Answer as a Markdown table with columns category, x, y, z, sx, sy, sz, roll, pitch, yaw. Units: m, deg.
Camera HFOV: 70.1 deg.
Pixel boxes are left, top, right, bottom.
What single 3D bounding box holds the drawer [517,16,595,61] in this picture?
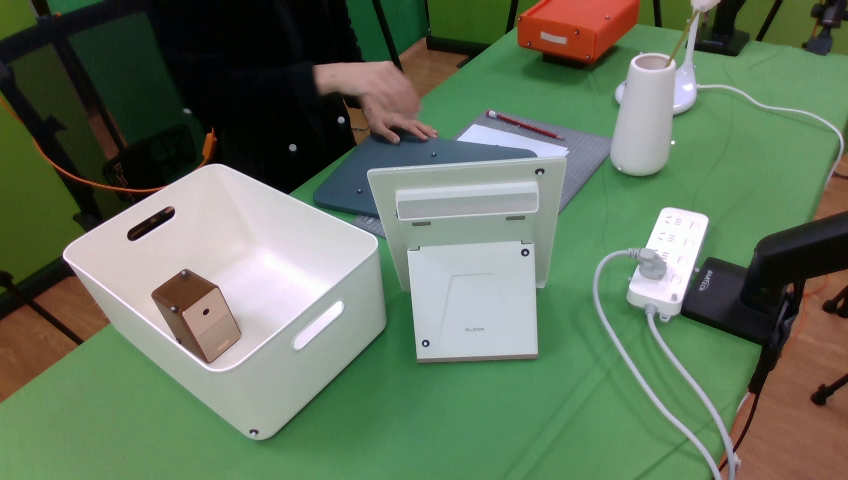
| category | x | y | z | sx | sy | sz | roll | pitch | yaw |
| --- | --- | --- | --- | --- | --- | --- | --- | --- | --- |
| drawer | 0.353 | -0.505 | 1.404 | 0.193 | 0.073 | 0.212 | 25 | 50 | 33 |

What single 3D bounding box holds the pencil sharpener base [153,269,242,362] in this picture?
| category | x | y | z | sx | sy | sz | roll | pitch | yaw |
| --- | --- | --- | --- | --- | --- | --- | --- | --- | --- |
| pencil sharpener base | -0.308 | 0.103 | 0.824 | 0.076 | 0.107 | 0.061 | 22 | 50 | 32 |

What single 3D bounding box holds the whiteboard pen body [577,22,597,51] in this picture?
| category | x | y | z | sx | sy | sz | roll | pitch | yaw |
| --- | --- | --- | --- | --- | --- | --- | --- | --- | --- |
| whiteboard pen body | 0.372 | -0.468 | 1.390 | 0.017 | 0.017 | 0.141 | 14 | 47 | 23 |

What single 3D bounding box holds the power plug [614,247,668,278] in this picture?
| category | x | y | z | sx | sy | sz | roll | pitch | yaw |
| --- | --- | --- | --- | --- | --- | --- | --- | --- | --- |
| power plug | 0.306 | 0.031 | 0.851 | 0.072 | 0.053 | 0.035 | 24 | 49 | 33 |

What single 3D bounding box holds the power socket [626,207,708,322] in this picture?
| category | x | y | z | sx | sy | sz | roll | pitch | yaw |
| --- | --- | --- | --- | --- | --- | --- | --- | --- | --- |
| power socket | 0.359 | 0.026 | 0.886 | 0.072 | 0.033 | 0.227 | 16 | 46 | 26 |

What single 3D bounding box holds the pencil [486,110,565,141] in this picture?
| category | x | y | z | sx | sy | sz | roll | pitch | yaw |
| --- | --- | --- | --- | --- | --- | --- | --- | --- | --- |
| pencil | 0.204 | -0.232 | 1.226 | 0.192 | 0.012 | 0.012 | 29 | 52 | 33 |

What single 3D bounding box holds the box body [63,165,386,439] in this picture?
| category | x | y | z | sx | sy | sz | roll | pitch | yaw |
| --- | --- | --- | --- | --- | --- | --- | --- | --- | --- |
| box body | -0.257 | 0.068 | 0.824 | 0.361 | 0.161 | 0.255 | 24 | 49 | 31 |

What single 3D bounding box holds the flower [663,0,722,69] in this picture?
| category | x | y | z | sx | sy | sz | roll | pitch | yaw |
| --- | --- | --- | --- | --- | --- | --- | --- | --- | --- |
| flower | 0.379 | -0.261 | 0.965 | 0.044 | 0.362 | 0.038 | 21 | 53 | 5 |

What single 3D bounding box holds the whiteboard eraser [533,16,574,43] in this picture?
| category | x | y | z | sx | sy | sz | roll | pitch | yaw |
| --- | --- | --- | --- | --- | --- | --- | --- | --- | --- |
| whiteboard eraser | 0.305 | -0.493 | 1.423 | 0.055 | 0.042 | 0.113 | 27 | 43 | 25 |

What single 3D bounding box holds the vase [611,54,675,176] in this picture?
| category | x | y | z | sx | sy | sz | roll | pitch | yaw |
| --- | --- | --- | --- | --- | --- | --- | --- | --- | --- |
| vase | 0.377 | -0.209 | 1.031 | 0.098 | 0.201 | 0.097 | -3 | 40 | 3 |

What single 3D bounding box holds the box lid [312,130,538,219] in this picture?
| category | x | y | z | sx | sy | sz | roll | pitch | yaw |
| --- | --- | --- | --- | --- | --- | --- | --- | --- | --- |
| box lid | 0.007 | -0.113 | 1.114 | 0.369 | 0.015 | 0.263 | 11 | 44 | 21 |

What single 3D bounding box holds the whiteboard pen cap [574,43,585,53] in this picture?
| category | x | y | z | sx | sy | sz | roll | pitch | yaw |
| --- | --- | --- | --- | --- | --- | --- | --- | --- | --- |
| whiteboard pen cap | 0.346 | -0.430 | 1.350 | 0.018 | 0.018 | 0.033 | 15 | 38 | 24 |

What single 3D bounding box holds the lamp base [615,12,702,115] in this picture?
| category | x | y | z | sx | sy | sz | roll | pitch | yaw |
| --- | --- | --- | --- | --- | --- | --- | --- | --- | --- |
| lamp base | 0.484 | -0.364 | 1.211 | 0.180 | 0.181 | 0.159 | -15 | 41 | -14 |

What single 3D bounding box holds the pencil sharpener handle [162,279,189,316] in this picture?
| category | x | y | z | sx | sy | sz | roll | pitch | yaw |
| --- | --- | --- | --- | --- | --- | --- | --- | --- | --- |
| pencil sharpener handle | -0.350 | 0.077 | 0.841 | 0.030 | 0.068 | 0.036 | 22 | 48 | 32 |

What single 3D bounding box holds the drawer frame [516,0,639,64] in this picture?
| category | x | y | z | sx | sy | sz | roll | pitch | yaw |
| --- | --- | --- | --- | --- | --- | --- | --- | --- | --- |
| drawer frame | 0.356 | -0.507 | 1.410 | 0.200 | 0.083 | 0.214 | 25 | 51 | 32 |

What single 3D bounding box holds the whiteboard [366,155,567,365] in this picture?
| category | x | y | z | sx | sy | sz | roll | pitch | yaw |
| --- | --- | --- | --- | --- | --- | --- | --- | --- | --- |
| whiteboard | 0.059 | 0.050 | 0.738 | 0.217 | 0.307 | 0.143 | -3 | 60 | 5 |
